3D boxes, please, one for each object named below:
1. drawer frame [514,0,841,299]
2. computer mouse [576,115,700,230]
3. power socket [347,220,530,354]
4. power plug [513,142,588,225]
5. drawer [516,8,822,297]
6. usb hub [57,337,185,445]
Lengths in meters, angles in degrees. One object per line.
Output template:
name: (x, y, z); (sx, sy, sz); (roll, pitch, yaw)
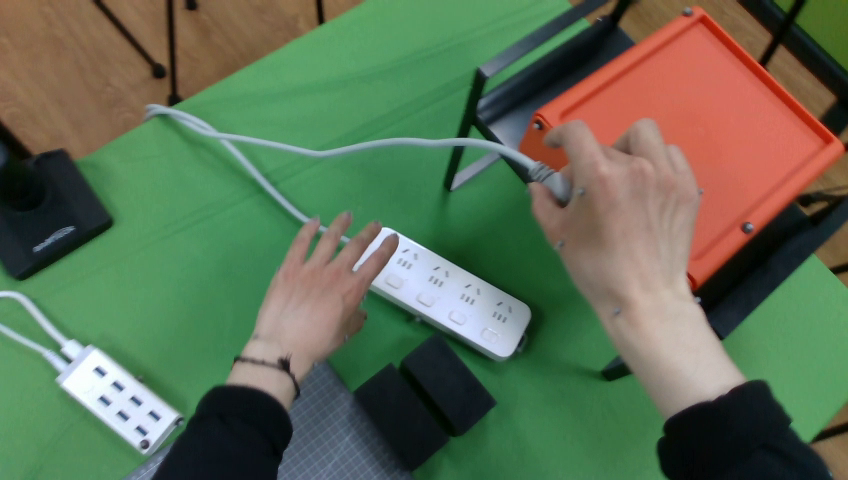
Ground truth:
drawer frame: (0.229, -0.089, 0.563); (0.213, 0.083, 0.201); (-37, 78, -18)
computer mouse: (0.202, -0.067, 0.568); (0.063, 0.041, 0.116); (-41, 78, -14)
power socket: (0.019, 0.054, 0.705); (0.226, 0.033, 0.072); (29, 70, 4)
power plug: (0.102, -0.045, 0.482); (0.035, 0.053, 0.072); (-23, 66, 0)
drawer: (0.227, -0.086, 0.562); (0.212, 0.073, 0.193); (-36, 78, -17)
usb hub: (-0.317, 0.158, 0.634); (0.125, 0.025, 0.049); (35, 72, 6)
